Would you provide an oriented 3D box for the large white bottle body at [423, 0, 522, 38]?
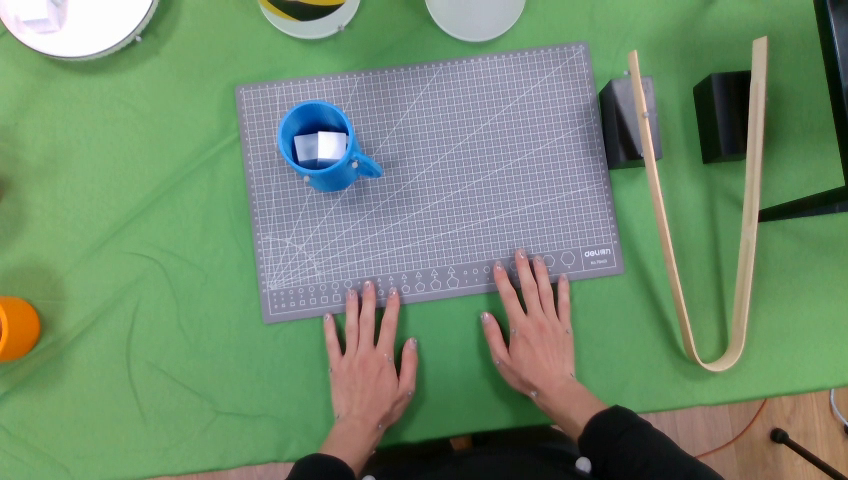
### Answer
[{"bbox_3d":[0.062,-0.328,0.689,0.131,0.185,0.130,0,85,-1],"label":"large white bottle body"}]

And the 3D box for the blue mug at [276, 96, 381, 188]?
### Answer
[{"bbox_3d":[-0.104,-0.104,0.706,0.116,0.106,0.082,22,85,1],"label":"blue mug"}]

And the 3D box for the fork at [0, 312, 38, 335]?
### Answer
[{"bbox_3d":[-0.544,0.086,0.662,0.209,0.018,0.028,14,83,-43],"label":"fork"}]

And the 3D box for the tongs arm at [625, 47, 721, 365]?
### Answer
[{"bbox_3d":[0.293,-0.035,0.710,0.051,0.026,0.385,-13,98,-4],"label":"tongs arm"}]

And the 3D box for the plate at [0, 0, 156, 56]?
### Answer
[{"bbox_3d":[-0.428,-0.326,0.753,0.208,0.039,0.207,0,86,-1],"label":"plate"}]

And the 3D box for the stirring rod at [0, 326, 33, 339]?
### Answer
[{"bbox_3d":[-0.533,0.105,0.663,0.177,0.006,0.014,4,70,-41],"label":"stirring rod"}]

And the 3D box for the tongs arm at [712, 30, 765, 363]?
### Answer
[{"bbox_3d":[0.374,-0.045,0.715,0.028,0.027,0.388,0,97,-9],"label":"tongs arm"}]

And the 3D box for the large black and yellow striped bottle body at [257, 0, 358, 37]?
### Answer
[{"bbox_3d":[-0.146,-0.328,0.685,0.131,0.184,0.130,0,85,-1],"label":"large black and yellow striped bottle body"}]
